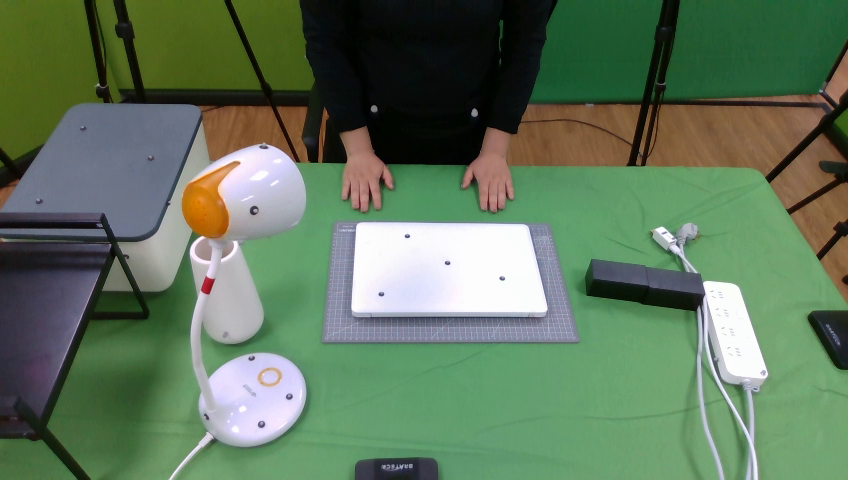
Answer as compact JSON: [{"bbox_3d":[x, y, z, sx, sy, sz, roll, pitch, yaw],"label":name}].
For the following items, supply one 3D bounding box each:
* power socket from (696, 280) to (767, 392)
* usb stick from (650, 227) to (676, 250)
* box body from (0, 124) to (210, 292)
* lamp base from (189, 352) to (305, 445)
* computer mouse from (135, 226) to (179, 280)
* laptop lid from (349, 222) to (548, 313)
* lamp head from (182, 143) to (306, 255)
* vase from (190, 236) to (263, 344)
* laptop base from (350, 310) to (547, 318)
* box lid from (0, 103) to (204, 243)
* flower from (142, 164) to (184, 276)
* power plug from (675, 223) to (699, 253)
[{"bbox_3d":[0.543,0.160,1.077,0.072,0.033,0.225,6,46,2],"label":"power socket"},{"bbox_3d":[0.485,-0.007,1.238,0.021,0.027,0.059,-22,43,-13],"label":"usb stick"},{"bbox_3d":[-0.567,-0.082,1.134,0.254,0.161,0.361,2,46,-3],"label":"box body"},{"bbox_3d":[-0.268,0.197,0.876,0.160,0.181,0.179,25,52,20],"label":"lamp base"},{"bbox_3d":[-0.493,0.020,1.118,0.063,0.041,0.116,1,53,-10],"label":"computer mouse"},{"bbox_3d":[0.042,0.046,1.142,0.357,0.013,0.240,2,44,-3],"label":"laptop lid"},{"bbox_3d":[-0.215,-0.044,0.697,0.112,0.113,0.123,23,31,17],"label":"lamp head"},{"bbox_3d":[-0.317,0.081,0.971,0.098,0.201,0.097,3,47,-3],"label":"vase"},{"bbox_3d":[0.041,0.056,1.149,0.355,0.023,0.234,0,43,-4],"label":"laptop base"},{"bbox_3d":[-0.563,-0.132,1.079,0.263,0.015,0.369,1,46,-3],"label":"box lid"},{"bbox_3d":[-0.493,-0.056,1.172,0.038,0.044,0.359,37,23,-32],"label":"flower"},{"bbox_3d":[0.538,0.000,1.243,0.053,0.035,0.072,19,81,-16],"label":"power plug"}]
